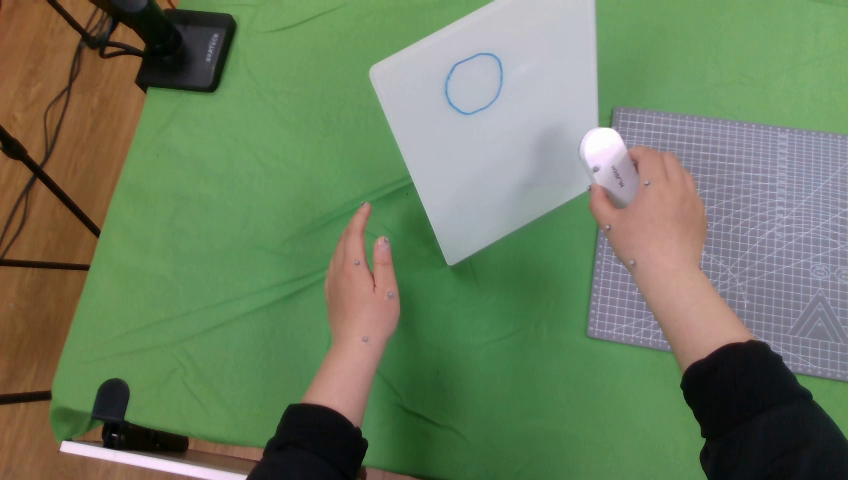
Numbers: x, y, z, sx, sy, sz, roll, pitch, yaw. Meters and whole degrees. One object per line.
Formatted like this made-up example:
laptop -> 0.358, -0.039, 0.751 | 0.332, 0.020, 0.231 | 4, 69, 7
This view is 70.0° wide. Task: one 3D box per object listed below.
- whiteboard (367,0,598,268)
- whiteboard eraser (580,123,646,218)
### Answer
whiteboard -> 0.058, -0.150, 0.661 | 0.217, 0.309, 0.142 | -29, 52, -3
whiteboard eraser -> 0.184, -0.067, 0.590 | 0.041, 0.018, 0.102 | -34, 111, -5
